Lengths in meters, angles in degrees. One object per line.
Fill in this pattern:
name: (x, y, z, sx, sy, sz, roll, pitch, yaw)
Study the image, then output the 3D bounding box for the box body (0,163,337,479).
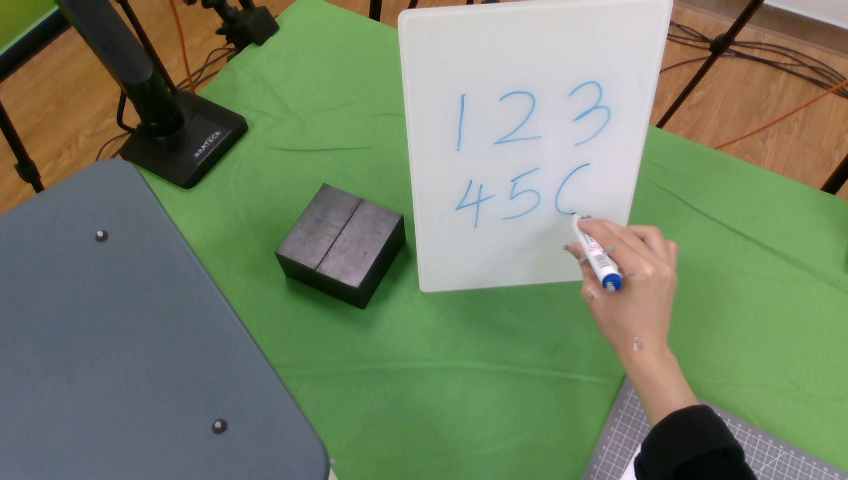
box body: (-0.268, 0.146, 0.516, 0.254, 0.162, 0.361, -35, 65, -18)

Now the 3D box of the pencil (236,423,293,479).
pencil: (-0.185, 0.239, 0.539, 0.012, 0.012, 0.193, 30, 53, 18)

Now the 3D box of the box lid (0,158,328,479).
box lid: (-0.271, 0.108, 0.453, 0.263, 0.015, 0.368, -35, 66, -18)

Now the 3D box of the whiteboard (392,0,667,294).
whiteboard: (0.087, -0.111, 0.614, 0.217, 0.308, 0.142, -4, 40, 0)

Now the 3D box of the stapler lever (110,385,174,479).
stapler lever: (-0.255, 0.186, 0.536, 0.026, 0.040, 0.117, -1, 60, 22)

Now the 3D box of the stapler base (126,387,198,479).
stapler base: (-0.249, 0.197, 0.556, 0.041, 0.025, 0.129, -1, 62, 21)

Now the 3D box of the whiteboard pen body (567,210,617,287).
whiteboard pen body: (0.145, 0.002, 0.539, 0.017, 0.017, 0.139, -3, 26, 0)
